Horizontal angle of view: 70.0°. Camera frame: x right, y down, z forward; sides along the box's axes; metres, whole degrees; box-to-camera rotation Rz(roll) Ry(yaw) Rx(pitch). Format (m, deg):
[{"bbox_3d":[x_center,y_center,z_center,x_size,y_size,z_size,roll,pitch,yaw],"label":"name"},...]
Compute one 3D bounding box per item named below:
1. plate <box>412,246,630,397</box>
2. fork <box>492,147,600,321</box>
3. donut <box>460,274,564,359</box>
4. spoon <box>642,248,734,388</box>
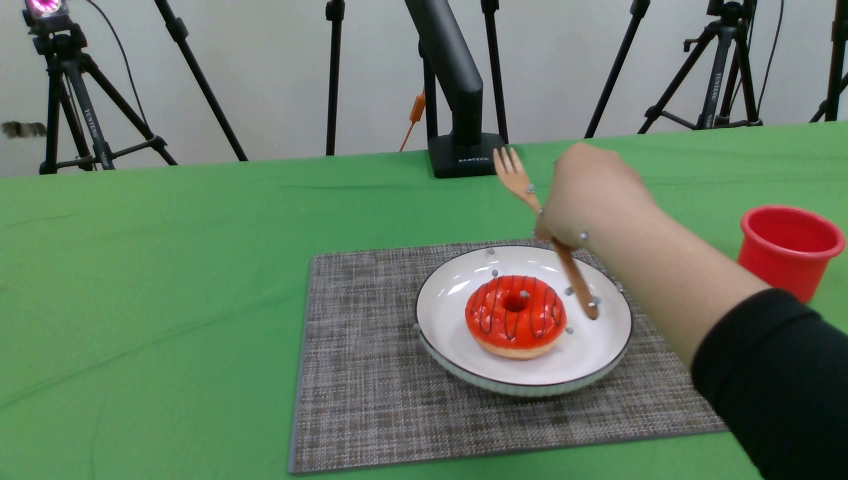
[{"bbox_3d":[0.093,0.078,0.596,0.209,0.038,0.207,-1,34,1],"label":"plate"},{"bbox_3d":[0.098,-0.014,0.506,0.028,0.019,0.205,-2,42,-18],"label":"fork"},{"bbox_3d":[0.085,0.073,0.585,0.099,0.048,0.098,-2,37,2],"label":"donut"},{"bbox_3d":[0.266,0.072,0.613,0.042,0.022,0.192,12,32,-11],"label":"spoon"}]
